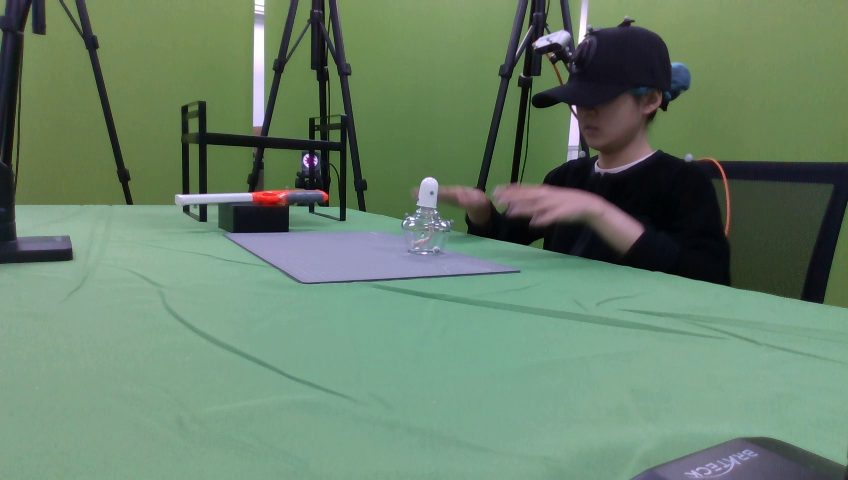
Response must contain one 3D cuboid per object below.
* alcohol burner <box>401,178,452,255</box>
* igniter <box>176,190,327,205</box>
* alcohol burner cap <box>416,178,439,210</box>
[{"bbox_3d":[0.005,-0.036,0.923,0.078,0.119,0.078,5,7,0],"label":"alcohol burner"},{"bbox_3d":[-0.316,-0.080,1.137,0.278,0.025,0.057,-4,12,-33],"label":"igniter"},{"bbox_3d":[0.007,-0.071,0.917,0.034,0.048,0.034,6,6,0],"label":"alcohol burner cap"}]
